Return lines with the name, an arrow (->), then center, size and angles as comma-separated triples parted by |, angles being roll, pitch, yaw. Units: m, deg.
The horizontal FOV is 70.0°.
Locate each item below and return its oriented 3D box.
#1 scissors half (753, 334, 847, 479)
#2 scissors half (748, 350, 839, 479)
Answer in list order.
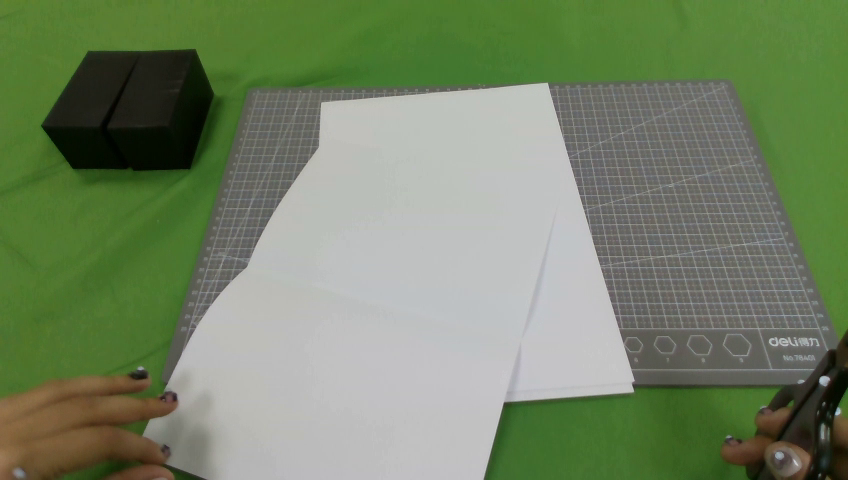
scissors half -> 0.196, 0.061, 0.281 | 0.013, 0.175, 0.040 | 22, 16, 15
scissors half -> 0.205, 0.056, 0.298 | 0.012, 0.176, 0.040 | 25, 33, 19
